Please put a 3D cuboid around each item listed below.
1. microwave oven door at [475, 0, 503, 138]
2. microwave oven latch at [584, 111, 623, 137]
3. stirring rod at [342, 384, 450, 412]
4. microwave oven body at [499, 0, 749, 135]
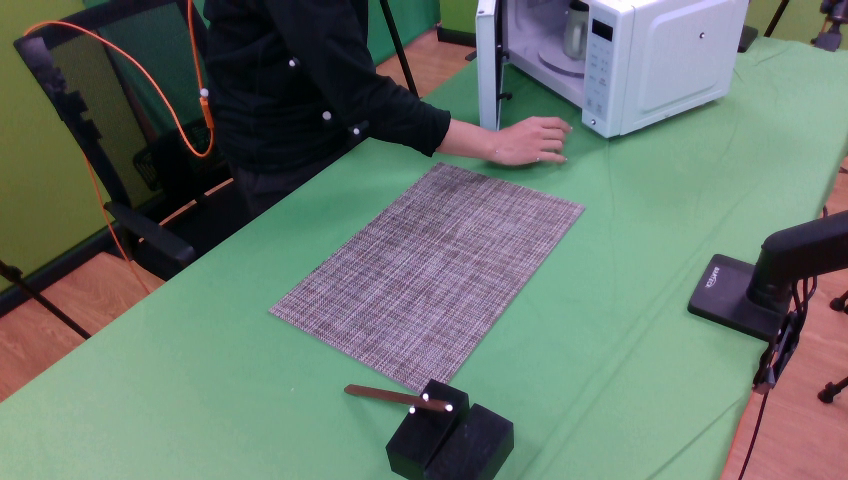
[{"bbox_3d":[0.135,-0.402,1.224,0.039,0.245,0.354,0,41,9],"label":"microwave oven door"},{"bbox_3d":[0.337,-0.222,1.142,0.030,0.029,0.078,-21,42,-14],"label":"microwave oven latch"},{"bbox_3d":[-0.038,0.185,0.714,0.175,0.006,0.014,-3,22,43],"label":"stirring rod"},{"bbox_3d":[0.382,-0.444,1.246,0.327,0.261,0.437,-22,42,-16],"label":"microwave oven body"}]
